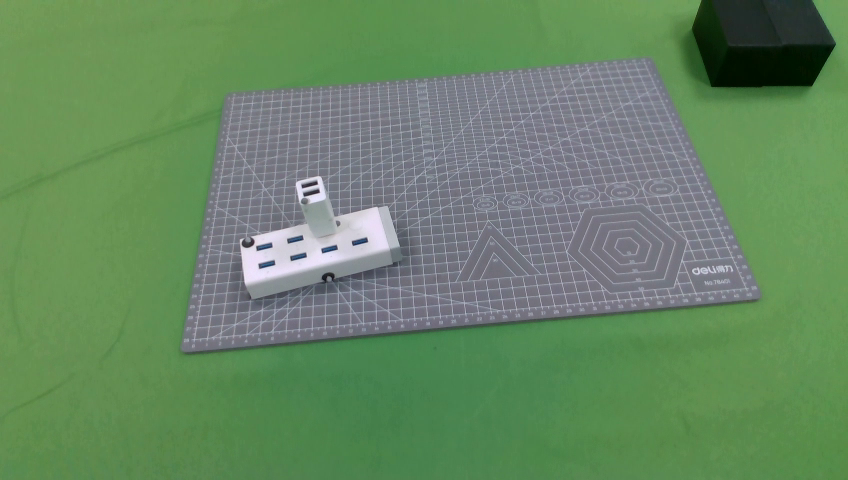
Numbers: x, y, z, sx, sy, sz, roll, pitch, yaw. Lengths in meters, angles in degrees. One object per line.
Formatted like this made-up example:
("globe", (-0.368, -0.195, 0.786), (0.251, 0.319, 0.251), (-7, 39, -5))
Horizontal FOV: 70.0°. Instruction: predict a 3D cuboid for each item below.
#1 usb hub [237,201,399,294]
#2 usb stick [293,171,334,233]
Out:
("usb hub", (-0.087, 0.004, 0.498), (0.125, 0.025, 0.049), (-14, 54, -8))
("usb stick", (-0.086, -0.025, 0.483), (0.021, 0.060, 0.027), (-16, 54, -6))
